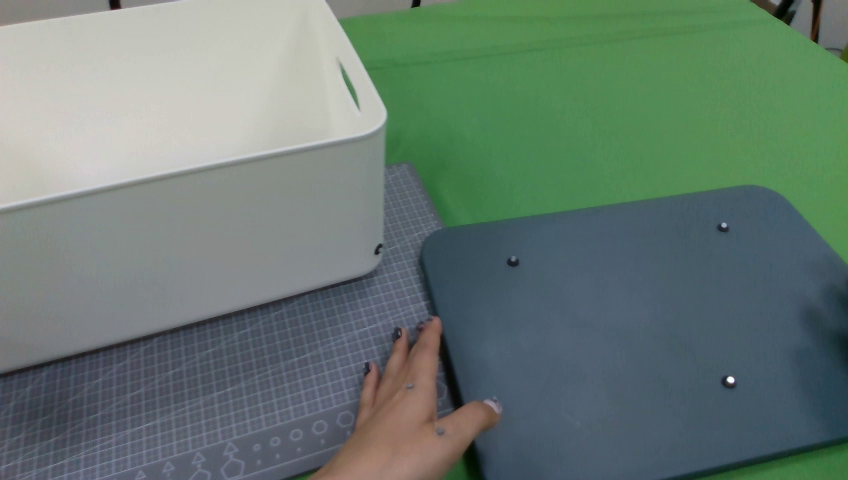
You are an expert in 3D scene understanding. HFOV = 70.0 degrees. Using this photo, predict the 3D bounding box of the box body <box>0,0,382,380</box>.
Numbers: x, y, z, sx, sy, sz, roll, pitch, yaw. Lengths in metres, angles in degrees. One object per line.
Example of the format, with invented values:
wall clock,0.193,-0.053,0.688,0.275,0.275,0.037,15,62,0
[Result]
box body,-0.233,-0.056,0.505,0.365,0.162,0.251,-15,47,-15

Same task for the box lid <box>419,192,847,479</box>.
box lid,0.194,0.066,0.498,0.372,0.015,0.260,-8,45,-10
